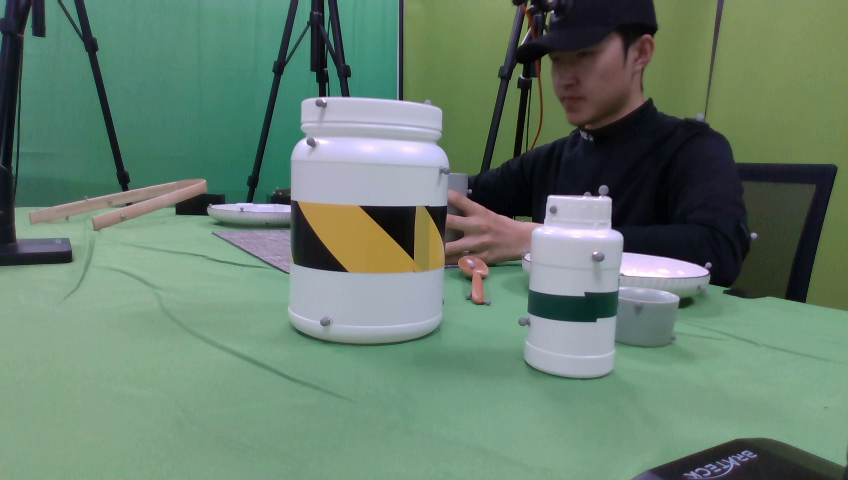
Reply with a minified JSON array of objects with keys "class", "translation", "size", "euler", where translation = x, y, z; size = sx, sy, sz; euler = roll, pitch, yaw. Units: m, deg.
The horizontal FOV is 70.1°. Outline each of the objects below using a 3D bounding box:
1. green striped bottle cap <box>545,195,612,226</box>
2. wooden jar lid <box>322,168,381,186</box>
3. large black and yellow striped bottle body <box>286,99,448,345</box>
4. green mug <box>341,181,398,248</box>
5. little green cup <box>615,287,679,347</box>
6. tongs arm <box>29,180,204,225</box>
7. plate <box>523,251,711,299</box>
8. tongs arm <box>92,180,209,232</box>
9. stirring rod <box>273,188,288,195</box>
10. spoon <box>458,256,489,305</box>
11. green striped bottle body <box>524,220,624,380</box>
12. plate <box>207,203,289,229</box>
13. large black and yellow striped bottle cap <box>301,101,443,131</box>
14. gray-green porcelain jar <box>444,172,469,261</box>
[{"class":"green striped bottle cap","translation":[0.106,-0.020,0.414],"size":[0.044,0.020,0.044],"euler":[2,4,0]},{"class":"wooden jar lid","translation":[-0.134,-0.116,1.116],"size":[0.108,0.020,0.108],"euler":[10,7,-1]},{"class":"large black and yellow striped bottle body","translation":[-0.047,-0.018,0.501],"size":[0.131,0.184,0.130],"euler":[2,7,0]},{"class":"green mug","translation":[-0.089,-0.044,0.996],"size":[0.093,0.105,0.125],"euler":[1,7,-8]},{"class":"little green cup","translation":[0.180,0.064,0.506],"size":[0.061,0.038,0.061],"euler":[2,8,0]},{"class":"tongs arm","translation":[-0.609,-0.083,1.245],"size":[0.050,0.026,0.386],"euler":[5,16,23]},{"class":"plate","translation":[0.219,0.042,0.706],"size":[0.209,0.038,0.209],"euler":[2,7,0]},{"class":"tongs arm","translation":[-0.534,-0.076,1.222],"size":[0.028,0.028,0.388],"euler":[-2,15,12]},{"class":"stirring rod","translation":[-0.353,-0.122,1.519],"size":[0.006,0.014,0.176],"euler":[1,6,1]},{"class":"spoon","translation":[0.059,0.044,0.696],"size":[0.041,0.021,0.194],"euler":[20,7,0]},{"class":"green striped bottle body","translation":[0.104,0.031,0.422],"size":[0.063,0.119,0.063],"euler":[2,8,0]},{"class":"plate","translation":[-0.342,-0.050,1.259],"size":[0.208,0.039,0.207],"euler":[2,7,0]},{"class":"large black and yellow striped bottle cap","translation":[-0.042,-0.100,0.491],"size":[0.115,0.019,0.115],"euler":[1,8,0]},{"class":"gray-green porcelain jar","translation":[0.010,-0.036,0.874],"size":[0.106,0.126,0.106],"euler":[2,7,0]}]
